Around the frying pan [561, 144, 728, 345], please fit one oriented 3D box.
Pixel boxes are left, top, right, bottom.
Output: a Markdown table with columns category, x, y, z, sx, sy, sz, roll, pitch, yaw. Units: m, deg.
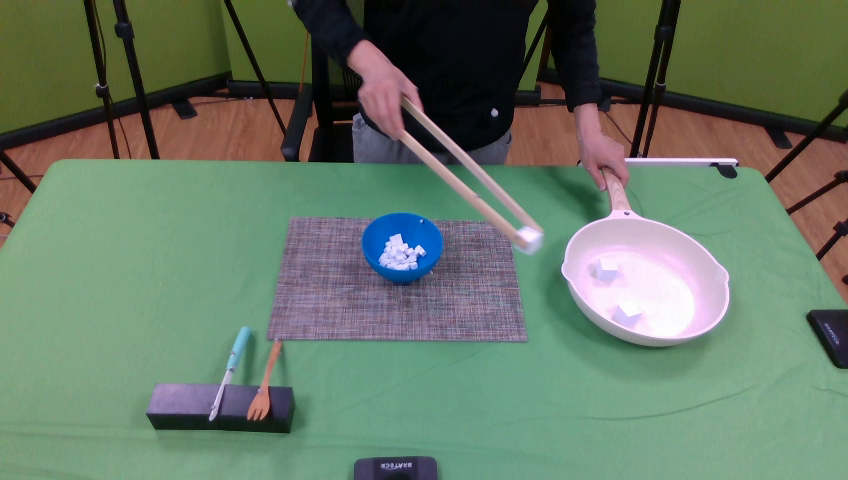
| category | x | y | z | sx | sy | sz | roll | pitch | yaw |
| --- | --- | --- | --- | --- | --- | --- | --- | --- | --- |
| frying pan | 0.397 | -0.008 | 1.179 | 0.307 | 0.103 | 0.485 | 2 | 55 | -4 |

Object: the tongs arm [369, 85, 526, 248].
| category | x | y | z | sx | sy | sz | roll | pitch | yaw |
| --- | --- | --- | --- | --- | --- | --- | --- | --- | --- |
| tongs arm | 0.037 | -0.131 | 1.039 | 0.384 | 0.026 | 0.050 | 42 | 62 | 11 |

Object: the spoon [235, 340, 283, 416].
| category | x | y | z | sx | sy | sz | roll | pitch | yaw |
| --- | --- | --- | --- | --- | --- | --- | --- | --- | --- |
| spoon | -0.245 | 0.207 | 0.932 | 0.042 | 0.022 | 0.193 | 27 | 25 | -8 |

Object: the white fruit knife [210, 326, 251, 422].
| category | x | y | z | sx | sy | sz | roll | pitch | yaw |
| --- | --- | --- | --- | --- | --- | --- | --- | --- | --- |
| white fruit knife | -0.300 | 0.201 | 0.942 | 0.016 | 0.027 | 0.206 | -2 | 32 | 1 |

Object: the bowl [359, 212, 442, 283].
| category | x | y | z | sx | sy | sz | roll | pitch | yaw |
| --- | --- | --- | --- | --- | --- | --- | --- | --- | --- |
| bowl | -0.044 | 0.026 | 1.125 | 0.151 | 0.077 | 0.150 | 2 | 46 | -2 |

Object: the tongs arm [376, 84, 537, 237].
| category | x | y | z | sx | sy | sz | roll | pitch | yaw |
| --- | --- | --- | --- | --- | --- | --- | --- | --- | --- |
| tongs arm | 0.053 | -0.143 | 1.050 | 0.028 | 0.028 | 0.386 | -38 | 75 | -23 |
